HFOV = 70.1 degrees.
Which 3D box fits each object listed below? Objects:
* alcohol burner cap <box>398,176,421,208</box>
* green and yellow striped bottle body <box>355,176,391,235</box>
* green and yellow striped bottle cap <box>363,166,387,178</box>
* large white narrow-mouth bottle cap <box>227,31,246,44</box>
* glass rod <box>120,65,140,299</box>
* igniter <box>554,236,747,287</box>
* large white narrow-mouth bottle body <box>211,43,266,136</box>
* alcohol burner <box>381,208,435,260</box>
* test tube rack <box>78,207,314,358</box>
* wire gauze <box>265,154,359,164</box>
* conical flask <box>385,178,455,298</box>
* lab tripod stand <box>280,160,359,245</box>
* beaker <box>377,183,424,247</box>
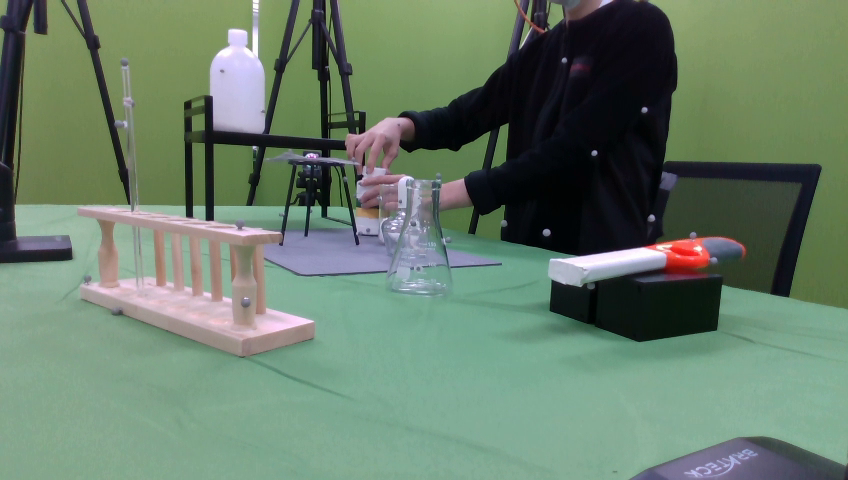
[{"bbox_3d":[-0.023,-0.068,0.866,0.034,0.048,0.034,-5,8,1],"label":"alcohol burner cap"},{"bbox_3d":[-0.094,-0.070,1.116,0.063,0.119,0.063,3,6,0],"label":"green and yellow striped bottle body"},{"bbox_3d":[-0.089,-0.126,1.109,0.045,0.020,0.045,5,8,0],"label":"green and yellow striped bottle cap"},{"bbox_3d":[-0.361,-0.389,1.165,0.038,0.024,0.037,1,7,0],"label":"large white narrow-mouth bottle cap"},{"bbox_3d":[-0.249,-0.047,0.513,0.008,0.199,0.008,-1,4,0],"label":"glass rod"},{"bbox_3d":[0.221,0.017,0.558,0.278,0.025,0.057,-5,15,-39],"label":"igniter"},{"bbox_3d":[-0.361,-0.302,1.176,0.102,0.194,0.102,1,7,0],"label":"large white narrow-mouth bottle body"},{"bbox_3d":[-0.023,-0.032,0.871,0.078,0.119,0.078,0,6,0],"label":"alcohol burner"},{"bbox_3d":[-0.196,0.023,0.499,0.241,0.085,0.067,8,9,37],"label":"test tube rack"},{"bbox_3d":[-0.181,-0.129,0.969,0.126,0.011,0.121,-1,7,-27],"label":"wire gauze"},{"bbox_3d":[-0.002,-0.004,0.639,0.075,0.122,0.075,2,7,0],"label":"conical flask"},{"bbox_3d":[-0.176,-0.062,0.973,0.148,0.131,0.148,1,7,0],"label":"lab tripod stand"},{"bbox_3d":[-0.038,-0.041,0.995,0.074,0.100,0.083,-5,12,-44],"label":"beaker"}]
